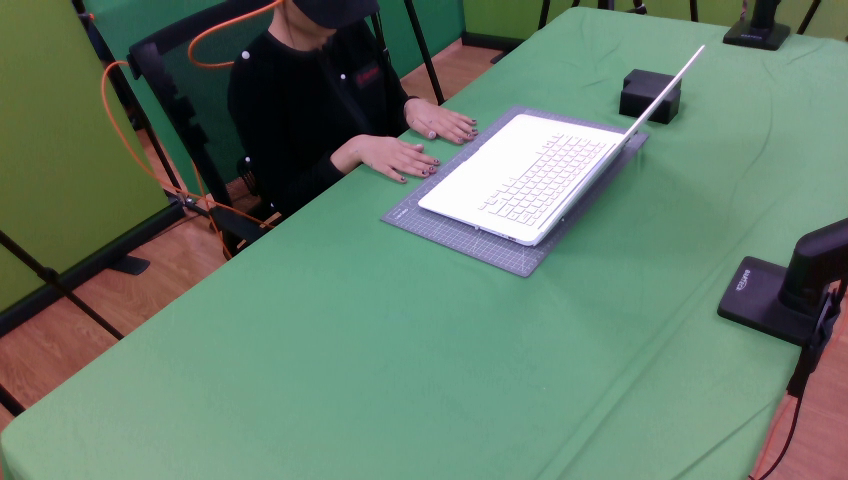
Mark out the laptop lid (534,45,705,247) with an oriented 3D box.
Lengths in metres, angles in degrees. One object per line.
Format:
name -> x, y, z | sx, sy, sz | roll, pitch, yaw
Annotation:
laptop lid -> 0.305, -0.146, 0.938 | 0.013, 0.241, 0.357 | 40, 54, 9

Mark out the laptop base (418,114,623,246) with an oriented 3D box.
laptop base -> 0.183, -0.122, 1.094 | 0.233, 0.023, 0.355 | 19, 47, 34
